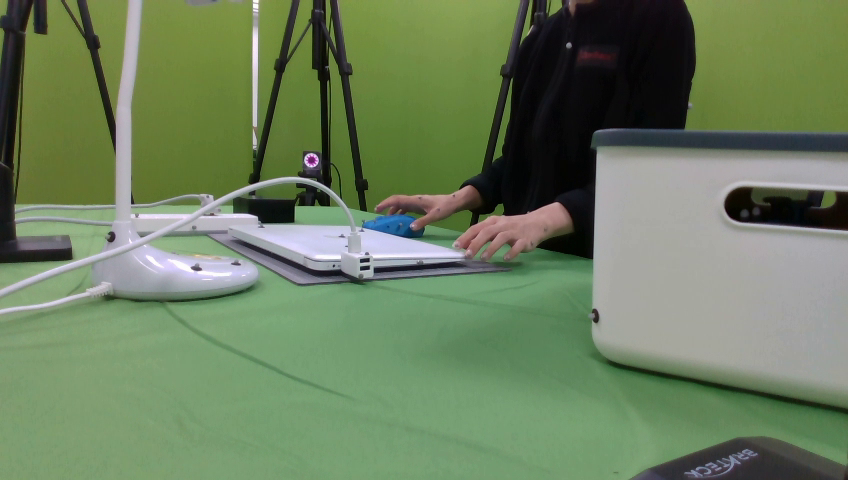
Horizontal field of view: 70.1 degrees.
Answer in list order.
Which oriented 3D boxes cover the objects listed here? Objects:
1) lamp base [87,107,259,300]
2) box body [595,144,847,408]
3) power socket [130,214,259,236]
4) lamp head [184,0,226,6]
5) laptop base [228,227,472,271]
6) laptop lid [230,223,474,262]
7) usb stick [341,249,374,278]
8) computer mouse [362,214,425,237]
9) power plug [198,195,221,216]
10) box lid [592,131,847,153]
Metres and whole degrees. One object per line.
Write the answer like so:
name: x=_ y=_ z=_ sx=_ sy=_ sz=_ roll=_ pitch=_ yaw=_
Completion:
lamp base: x=-0.254 y=-0.039 z=0.603 sx=0.160 sy=0.180 sz=0.179 roll=5 pitch=10 yaw=18
box body: x=0.309 y=0.007 z=0.508 sx=0.253 sy=0.160 sz=0.366 roll=6 pitch=8 yaw=30
power socket: x=-0.397 y=-0.028 z=1.048 sx=0.228 sy=0.032 sz=0.072 roll=-3 pitch=7 yaw=-35
lamp head: x=-0.229 y=-0.320 z=0.627 sx=0.112 sy=0.112 sz=0.123 roll=6 pitch=-36 yaw=26
laptop base: x=-0.124 y=0.011 z=0.889 sx=0.237 sy=0.023 sz=0.352 roll=2 pitch=6 yaw=-35
laptop lid: x=-0.121 y=0.000 z=0.888 sx=0.243 sy=0.013 sz=0.355 roll=1 pitch=7 yaw=-33
usb stick: x=-0.078 y=0.026 z=0.686 sx=0.021 sy=0.027 sz=0.059 roll=-8 pitch=8 yaw=-30
computer mouse: x=-0.057 y=-0.028 z=1.139 sx=0.118 sy=0.041 sz=0.062 roll=-2 pitch=9 yaw=-20
power plug: x=-0.386 y=-0.055 z=1.088 sx=0.035 sy=0.052 sz=0.072 roll=-1 pitch=6 yaw=-24
box lid: x=0.311 y=-0.067 z=0.498 sx=0.262 sy=0.015 sz=0.373 roll=6 pitch=7 yaw=30
